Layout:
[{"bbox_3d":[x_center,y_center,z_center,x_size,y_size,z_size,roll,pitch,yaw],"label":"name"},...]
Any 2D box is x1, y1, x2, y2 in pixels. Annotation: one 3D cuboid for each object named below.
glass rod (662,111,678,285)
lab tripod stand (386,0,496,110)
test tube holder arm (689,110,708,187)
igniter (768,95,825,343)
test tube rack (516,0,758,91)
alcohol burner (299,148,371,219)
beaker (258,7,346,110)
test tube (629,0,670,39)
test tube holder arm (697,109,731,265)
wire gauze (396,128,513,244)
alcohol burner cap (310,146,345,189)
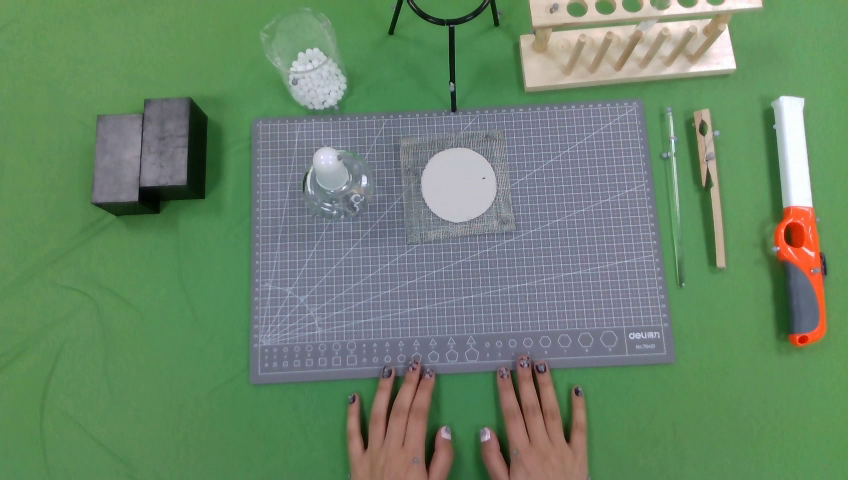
[{"bbox_3d":[0.275,-0.049,0.677,0.008,0.008,0.199,0,81,0],"label":"glass rod"},{"bbox_3d":[0.020,-0.235,0.652,0.148,0.132,0.147,-1,77,3],"label":"lab tripod stand"},{"bbox_3d":[0.311,-0.103,0.683,0.010,0.015,0.087,-12,75,37],"label":"test tube holder arm"},{"bbox_3d":[0.404,-0.026,0.661,0.057,0.025,0.275,4,78,-9],"label":"igniter"},{"bbox_3d":[0.231,-0.225,0.673,0.242,0.085,0.066,-5,78,0],"label":"test tube rack"},{"bbox_3d":[-0.095,-0.064,0.627,0.078,0.119,0.077,0,76,2],"label":"alcohol burner"},{"bbox_3d":[-0.129,-0.193,0.664,0.084,0.100,0.073,15,78,5],"label":"beaker"},{"bbox_3d":[0.248,-0.253,0.629,0.017,0.150,0.017,1,77,-5],"label":"test tube"},{"bbox_3d":[0.319,-0.060,0.670,0.013,0.015,0.177,-15,74,36],"label":"test tube holder arm"},{"bbox_3d":[0.033,-0.063,0.679,0.121,0.011,0.124,-5,82,-1],"label":"wire gauze"},{"bbox_3d":[-0.096,-0.074,0.592,0.034,0.048,0.033,1,68,-1],"label":"alcohol burner cap"}]
